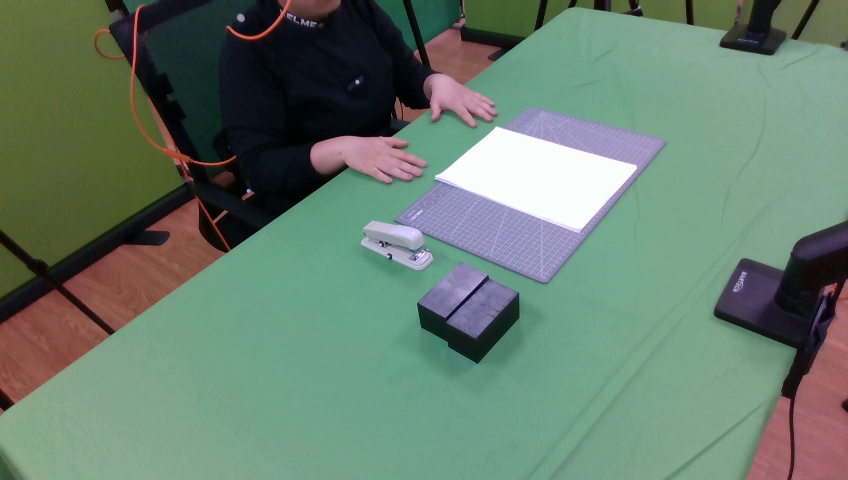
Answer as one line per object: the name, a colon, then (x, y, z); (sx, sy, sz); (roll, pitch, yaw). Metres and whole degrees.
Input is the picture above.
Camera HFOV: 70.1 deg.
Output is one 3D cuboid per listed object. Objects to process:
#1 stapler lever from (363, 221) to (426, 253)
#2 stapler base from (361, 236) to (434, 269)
stapler lever: (-0.049, -0.011, 0.958); (0.117, 0.040, 0.027); (21, 46, 32)
stapler base: (-0.044, 0.009, 0.974); (0.129, 0.024, 0.041); (21, 46, 32)
